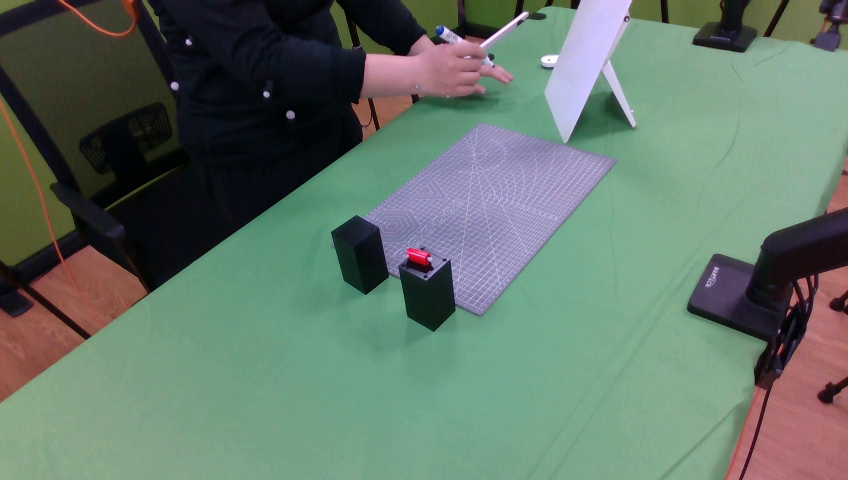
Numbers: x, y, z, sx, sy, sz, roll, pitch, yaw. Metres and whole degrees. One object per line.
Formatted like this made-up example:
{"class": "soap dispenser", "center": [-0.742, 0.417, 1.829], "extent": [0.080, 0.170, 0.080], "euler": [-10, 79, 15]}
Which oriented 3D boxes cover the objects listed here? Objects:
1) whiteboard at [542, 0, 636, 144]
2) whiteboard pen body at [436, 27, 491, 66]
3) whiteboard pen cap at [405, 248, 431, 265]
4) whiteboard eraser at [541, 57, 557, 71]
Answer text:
{"class": "whiteboard", "center": [0.366, -0.351, 1.160], "extent": [0.144, 0.305, 0.216], "euler": [10, 39, -10]}
{"class": "whiteboard pen body", "center": [0.068, -0.312, 0.985], "extent": [0.142, 0.017, 0.016], "euler": [14, 18, -47]}
{"class": "whiteboard pen cap", "center": [-0.008, 0.021, 0.794], "extent": [0.032, 0.017, 0.017], "euler": [17, 46, 28]}
{"class": "whiteboard eraser", "center": [0.323, -0.412, 1.407], "extent": [0.101, 0.019, 0.041], "euler": [1, 42, 11]}
